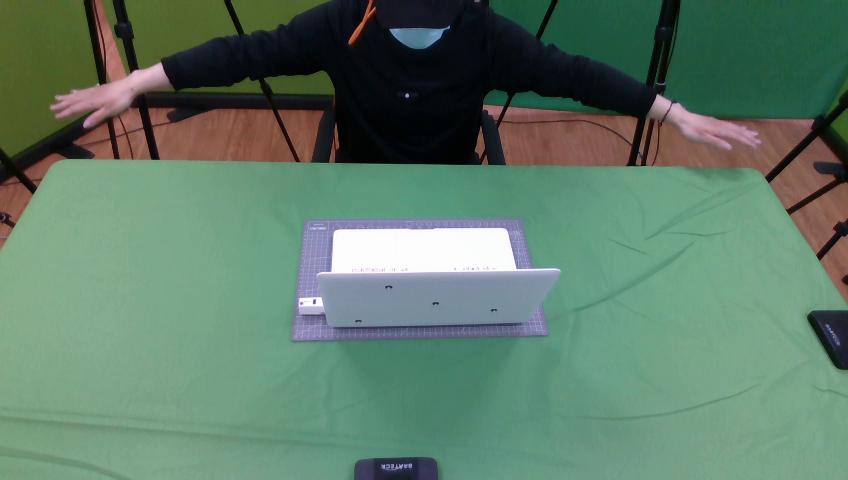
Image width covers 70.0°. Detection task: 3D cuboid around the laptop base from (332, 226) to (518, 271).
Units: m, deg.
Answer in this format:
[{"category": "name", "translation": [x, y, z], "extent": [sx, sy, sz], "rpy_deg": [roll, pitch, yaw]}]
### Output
[{"category": "laptop base", "translation": [0.004, 0.062, 1.136], "extent": [0.355, 0.023, 0.234], "rpy_deg": [-1, 43, -4]}]

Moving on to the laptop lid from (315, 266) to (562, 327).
[{"category": "laptop lid", "translation": [0.018, 0.094, 0.949], "extent": [0.357, 0.242, 0.013], "rpy_deg": [0, 64, -6]}]

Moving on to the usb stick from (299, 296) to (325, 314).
[{"category": "usb stick", "translation": [-0.187, 0.114, 1.057], "extent": [0.059, 0.027, 0.021], "rpy_deg": [2, 45, -5]}]
